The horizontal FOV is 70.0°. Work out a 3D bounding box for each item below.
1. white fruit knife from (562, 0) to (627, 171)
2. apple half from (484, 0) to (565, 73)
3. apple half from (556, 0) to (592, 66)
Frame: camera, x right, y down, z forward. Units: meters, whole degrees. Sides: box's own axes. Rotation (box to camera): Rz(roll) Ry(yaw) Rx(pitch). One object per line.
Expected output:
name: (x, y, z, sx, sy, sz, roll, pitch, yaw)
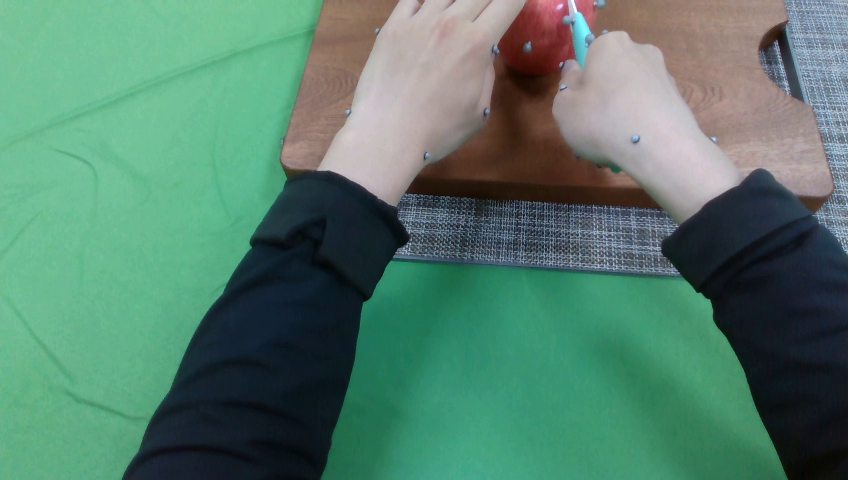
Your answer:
white fruit knife: (0.103, -0.144, 0.420, 0.016, 0.027, 0.206, -12, 70, 1)
apple half: (0.074, -0.170, 0.469, 0.053, 0.075, 0.080, -12, 63, 1)
apple half: (0.111, -0.177, 0.470, 0.033, 0.082, 0.080, -11, 60, -1)
